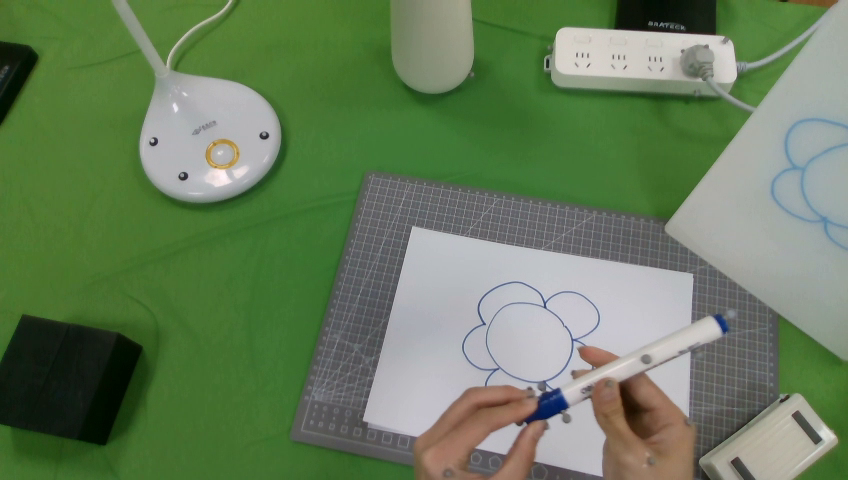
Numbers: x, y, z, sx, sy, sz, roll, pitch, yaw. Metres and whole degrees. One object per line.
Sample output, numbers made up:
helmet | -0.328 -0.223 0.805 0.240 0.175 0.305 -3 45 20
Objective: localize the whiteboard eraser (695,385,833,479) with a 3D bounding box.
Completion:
whiteboard eraser | 0.302 0.182 0.543 0.113 0.042 0.055 -31 69 -11

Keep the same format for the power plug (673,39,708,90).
power plug | 0.299 -0.194 0.687 0.035 0.053 0.072 14 74 8

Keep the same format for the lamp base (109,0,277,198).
lamp base | -0.262 -0.159 0.632 0.160 0.181 0.178 -42 69 -15

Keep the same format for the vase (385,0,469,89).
vase | 0.000 -0.255 0.655 0.098 0.201 0.097 -1 66 3

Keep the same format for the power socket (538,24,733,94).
power socket | 0.252 -0.217 0.722 0.226 0.033 0.071 5 68 3

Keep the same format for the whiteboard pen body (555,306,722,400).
whiteboard pen body | 0.132 0.081 0.406 0.141 0.017 0.017 -28 67 8

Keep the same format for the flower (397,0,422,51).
flower | 0.015 -0.277 0.575 0.044 0.362 0.038 -31 86 -20

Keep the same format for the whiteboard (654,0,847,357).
whiteboard | 0.403 -0.077 0.544 0.216 0.307 0.144 40 53 17

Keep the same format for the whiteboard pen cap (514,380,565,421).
whiteboard pen cap | 0.080 0.110 0.415 0.033 0.018 0.018 -28 68 5
